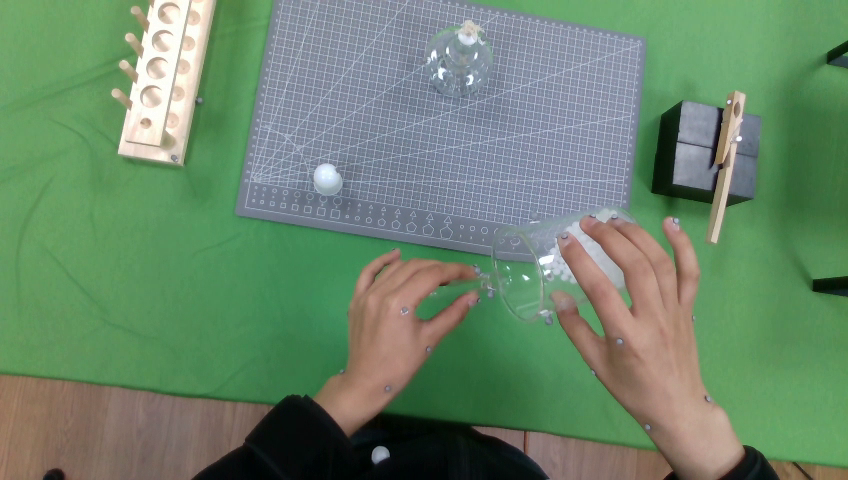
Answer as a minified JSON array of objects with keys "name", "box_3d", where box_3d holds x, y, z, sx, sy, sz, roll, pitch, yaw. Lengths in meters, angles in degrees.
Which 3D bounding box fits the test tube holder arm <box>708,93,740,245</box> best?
[{"name":"test tube holder arm","box_3d":[0.343,-0.082,0.692,0.013,0.015,0.178,10,84,-3]}]

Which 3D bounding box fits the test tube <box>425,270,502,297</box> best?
[{"name":"test tube","box_3d":[0.031,0.042,0.554,0.017,0.150,0.017,3,81,-20]}]

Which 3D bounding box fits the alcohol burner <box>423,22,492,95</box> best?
[{"name":"alcohol burner","box_3d":[0.039,-0.205,0.663,0.078,0.119,0.077,1,84,-5]}]

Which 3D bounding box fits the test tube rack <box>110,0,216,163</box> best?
[{"name":"test tube rack","box_3d":[-0.277,-0.213,0.640,0.067,0.085,0.241,9,83,-6]}]

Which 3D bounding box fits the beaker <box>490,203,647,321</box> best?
[{"name":"beaker","box_3d":[0.110,0.015,0.465,0.100,0.084,0.074,-13,82,-19]}]

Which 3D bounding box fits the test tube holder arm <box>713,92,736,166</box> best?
[{"name":"test tube holder arm","box_3d":[0.345,-0.127,0.696,0.010,0.015,0.087,12,84,-3]}]

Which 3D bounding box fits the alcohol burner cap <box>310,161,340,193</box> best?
[{"name":"alcohol burner cap","box_3d":[-0.109,-0.072,0.665,0.034,0.048,0.034,1,84,-7]}]
